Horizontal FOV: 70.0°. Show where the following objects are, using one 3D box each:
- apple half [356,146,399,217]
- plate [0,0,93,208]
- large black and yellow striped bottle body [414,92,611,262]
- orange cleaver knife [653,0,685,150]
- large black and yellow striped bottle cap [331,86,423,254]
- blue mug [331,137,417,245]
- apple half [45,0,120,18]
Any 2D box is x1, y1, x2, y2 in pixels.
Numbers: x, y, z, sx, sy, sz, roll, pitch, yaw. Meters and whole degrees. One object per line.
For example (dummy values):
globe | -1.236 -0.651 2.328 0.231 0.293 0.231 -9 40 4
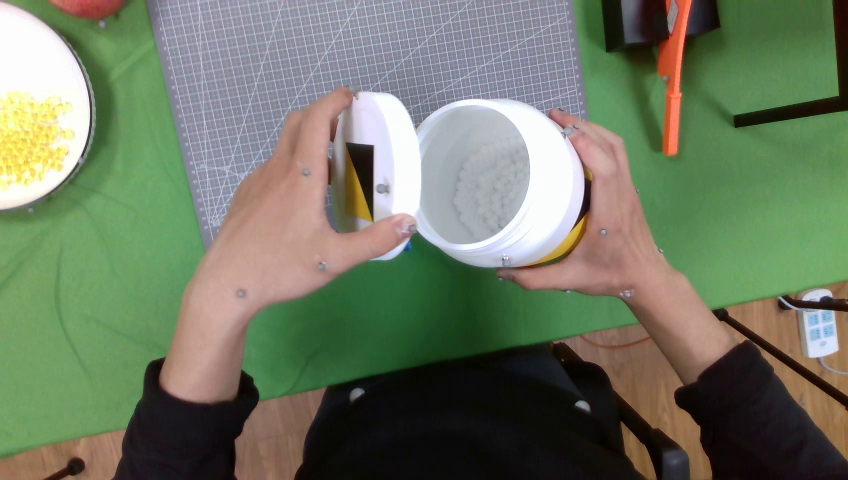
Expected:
apple half | -0.042 -0.056 0.624 0.033 0.081 0.081 21 94 -1
plate | -0.440 -0.136 0.608 0.209 0.038 0.209 -1 97 -6
large black and yellow striped bottle body | 0.070 -0.046 0.502 0.130 0.185 0.130 -1 87 30
orange cleaver knife | 0.265 -0.204 0.663 0.012 0.076 0.213 -9 124 3
large black and yellow striped bottle cap | -0.036 -0.047 0.416 0.019 0.114 0.115 -3 97 -29
blue mug | -0.046 -0.047 0.630 0.082 0.105 0.117 -27 99 -3
apple half | -0.335 -0.245 0.591 0.081 0.074 0.053 -8 101 -10
